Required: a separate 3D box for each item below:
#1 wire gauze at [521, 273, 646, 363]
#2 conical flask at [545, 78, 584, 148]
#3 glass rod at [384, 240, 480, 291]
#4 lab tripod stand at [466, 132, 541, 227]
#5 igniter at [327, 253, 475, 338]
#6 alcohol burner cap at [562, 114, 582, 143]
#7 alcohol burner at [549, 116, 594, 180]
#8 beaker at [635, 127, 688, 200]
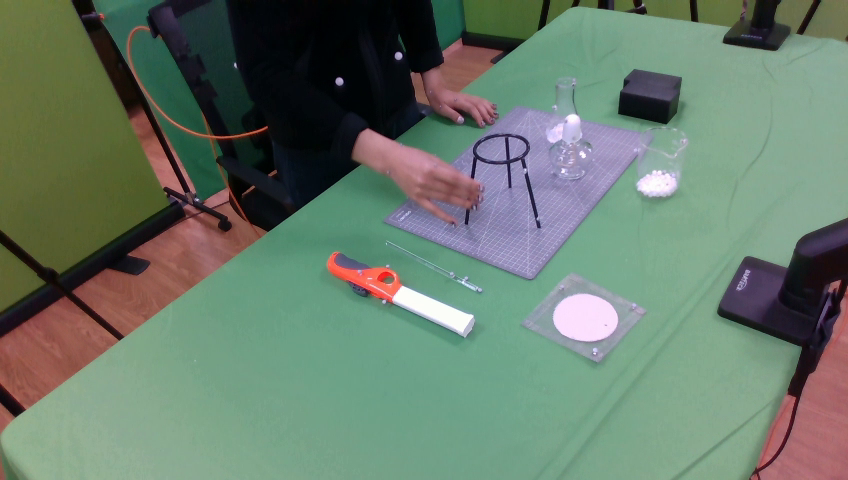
[{"bbox_3d":[0.219,0.105,0.830,0.120,0.011,0.125,28,54,37],"label":"wire gauze"},{"bbox_3d":[0.264,-0.241,1.135,0.075,0.122,0.075,-6,40,5],"label":"conical flask"},{"bbox_3d":[0.009,0.037,0.949,0.198,0.008,0.008,26,52,34],"label":"glass rod"},{"bbox_3d":[0.130,-0.099,0.985,0.148,0.132,0.147,-7,38,6],"label":"lab tripod stand"},{"bbox_3d":[-0.045,0.077,0.898,0.274,0.025,0.057,22,60,32],"label":"igniter"},{"bbox_3d":[0.254,-0.192,1.030,0.034,0.048,0.033,-4,50,6],"label":"alcohol burner cap"},{"bbox_3d":[0.258,-0.166,1.055,0.078,0.120,0.077,-6,42,6],"label":"alcohol burner"},{"bbox_3d":[0.388,-0.122,0.994,0.074,0.101,0.083,-8,40,2],"label":"beaker"}]
